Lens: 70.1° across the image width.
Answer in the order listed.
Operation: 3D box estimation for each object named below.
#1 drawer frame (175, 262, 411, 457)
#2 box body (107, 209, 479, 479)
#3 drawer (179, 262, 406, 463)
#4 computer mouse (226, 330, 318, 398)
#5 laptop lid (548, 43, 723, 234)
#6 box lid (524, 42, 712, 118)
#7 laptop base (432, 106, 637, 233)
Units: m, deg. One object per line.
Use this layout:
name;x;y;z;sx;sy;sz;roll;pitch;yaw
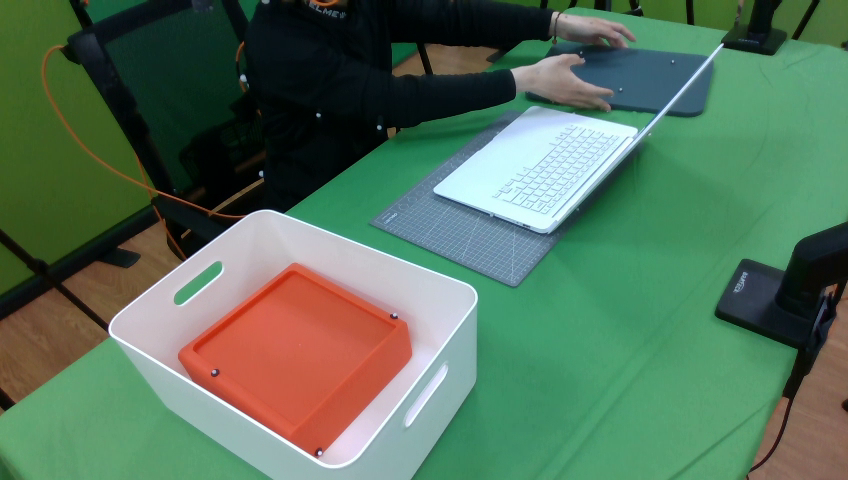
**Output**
drawer frame;-0.162;0.145;0.770;0.212;0.083;0.202;24;49;30
box body;-0.140;0.136;0.725;0.361;0.161;0.254;19;47;28
drawer;-0.163;0.145;0.769;0.210;0.073;0.195;25;51;31
computer mouse;-0.202;0.158;0.804;0.118;0.041;0.062;-29;40;-33
laptop lid;0.336;-0.160;0.956;0.013;0.241;0.358;43;54;8
box lid;0.426;-0.360;1.333;0.369;0.015;0.263;13;45;20
laptop base;0.210;-0.142;1.111;0.233;0.023;0.355;21;48;33
